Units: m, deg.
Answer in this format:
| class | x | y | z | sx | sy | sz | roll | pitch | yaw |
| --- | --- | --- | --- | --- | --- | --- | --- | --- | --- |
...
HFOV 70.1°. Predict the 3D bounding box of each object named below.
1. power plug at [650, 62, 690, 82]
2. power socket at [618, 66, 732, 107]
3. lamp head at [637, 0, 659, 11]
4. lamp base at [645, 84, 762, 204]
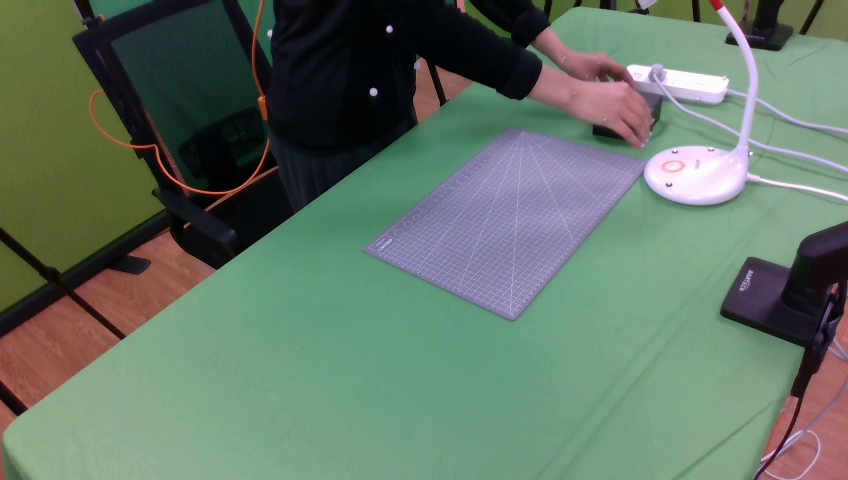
| class | x | y | z | sx | sy | sz | roll | pitch | yaw |
| --- | --- | --- | --- | --- | --- | --- | --- | --- | --- |
| power plug | 0.504 | -0.340 | 1.247 | 0.072 | 0.053 | 0.035 | 8 | 59 | 13 |
| power socket | 0.517 | -0.322 | 1.259 | 0.225 | 0.033 | 0.072 | 19 | 49 | 29 |
| lamp head | 0.330 | -0.391 | 0.827 | 0.122 | 0.113 | 0.112 | -21 | 35 | 25 |
| lamp base | 0.461 | -0.170 | 0.975 | 0.179 | 0.181 | 0.160 | 3 | 41 | 11 |
